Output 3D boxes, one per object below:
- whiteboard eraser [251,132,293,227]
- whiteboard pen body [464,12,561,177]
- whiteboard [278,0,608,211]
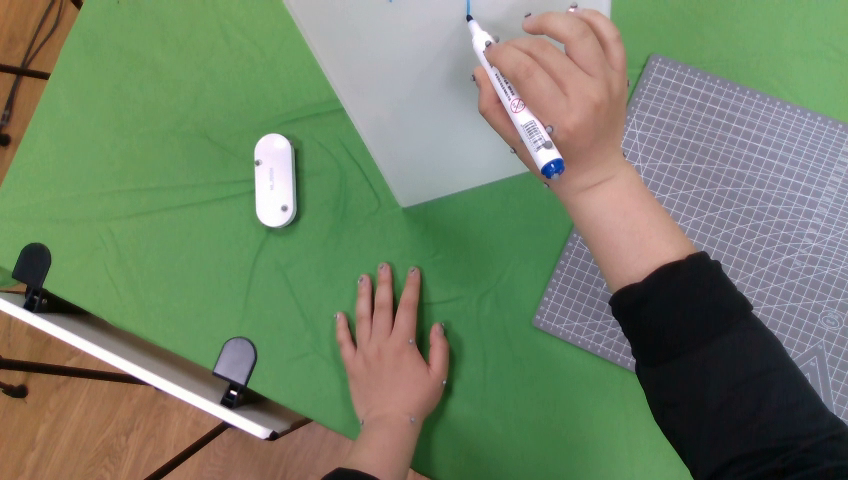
[{"bbox_3d":[-0.163,-0.065,0.648,0.041,0.019,0.101,-4,85,7],"label":"whiteboard eraser"},{"bbox_3d":[0.054,-0.101,0.399,0.017,0.017,0.139,-26,67,6],"label":"whiteboard pen body"},{"bbox_3d":[0.028,-0.185,0.521,0.217,0.308,0.142,-16,62,7],"label":"whiteboard"}]
